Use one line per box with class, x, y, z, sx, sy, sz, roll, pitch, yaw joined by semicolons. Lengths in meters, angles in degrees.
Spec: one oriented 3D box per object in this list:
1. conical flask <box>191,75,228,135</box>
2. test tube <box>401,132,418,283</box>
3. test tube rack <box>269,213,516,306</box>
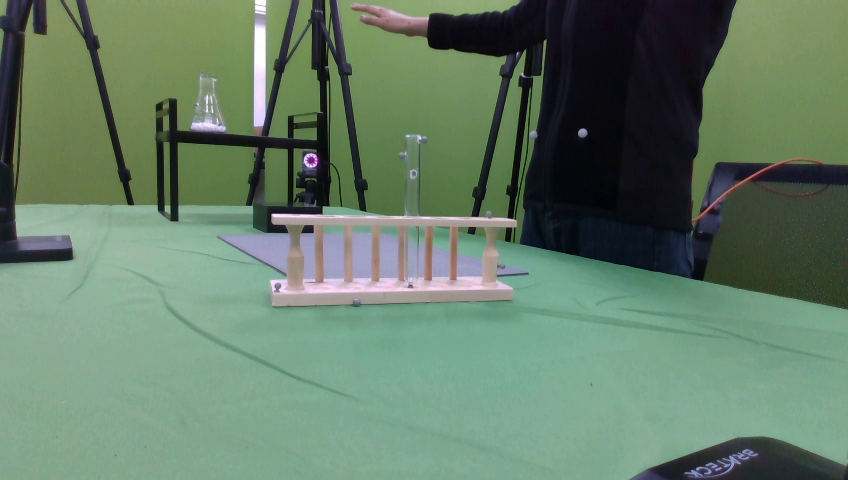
conical flask;-0.457;-0.286;1.286;0.075;0.122;0.075;2;7;0
test tube;-0.014;-0.031;0.596;0.017;0.150;0.017;1;11;0
test tube rack;-0.032;0.015;0.617;0.243;0.085;0.066;0;8;-17
